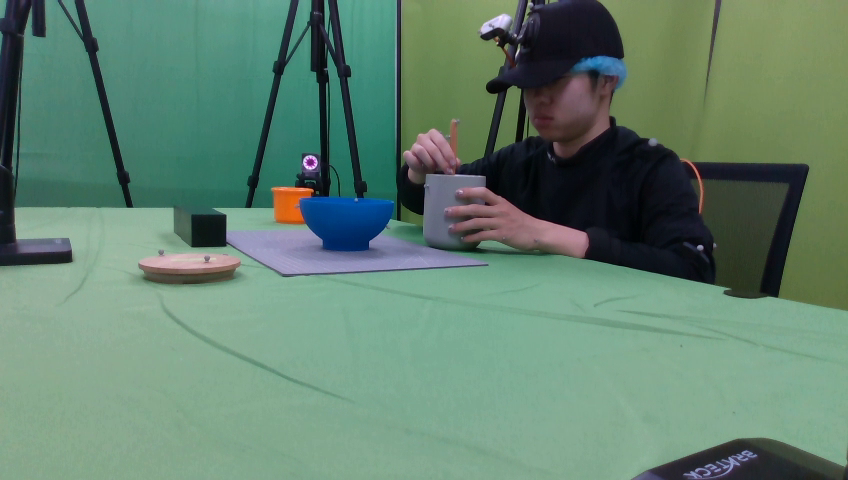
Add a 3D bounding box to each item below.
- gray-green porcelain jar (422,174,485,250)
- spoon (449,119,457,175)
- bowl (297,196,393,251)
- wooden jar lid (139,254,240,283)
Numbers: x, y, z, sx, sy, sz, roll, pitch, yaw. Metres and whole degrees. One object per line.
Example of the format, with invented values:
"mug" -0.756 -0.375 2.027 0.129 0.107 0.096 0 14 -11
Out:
"gray-green porcelain jar" 0.050 -0.049 1.040 0.106 0.126 0.106 2 8 0
"spoon" 0.043 -0.107 1.021 0.022 0.193 0.041 9 -4 -41
"bowl" -0.125 -0.026 0.957 0.151 0.077 0.151 2 7 0
"wooden jar lid" -0.269 0.033 0.698 0.108 0.020 0.108 2 5 0
